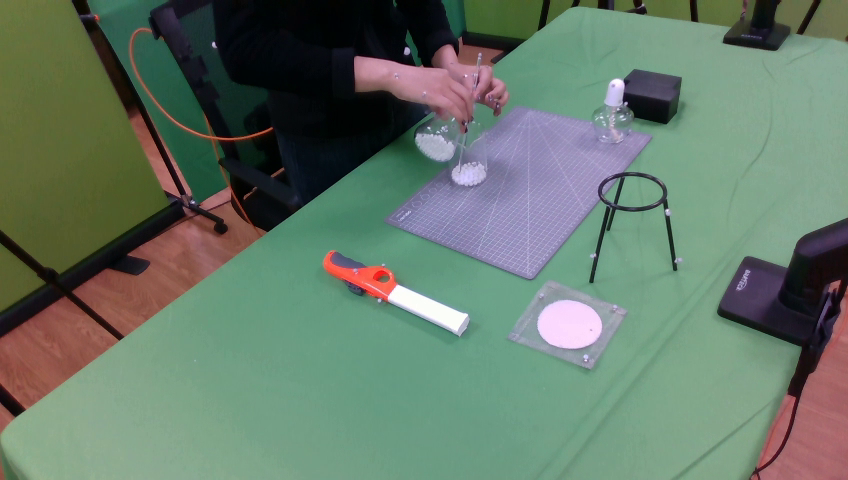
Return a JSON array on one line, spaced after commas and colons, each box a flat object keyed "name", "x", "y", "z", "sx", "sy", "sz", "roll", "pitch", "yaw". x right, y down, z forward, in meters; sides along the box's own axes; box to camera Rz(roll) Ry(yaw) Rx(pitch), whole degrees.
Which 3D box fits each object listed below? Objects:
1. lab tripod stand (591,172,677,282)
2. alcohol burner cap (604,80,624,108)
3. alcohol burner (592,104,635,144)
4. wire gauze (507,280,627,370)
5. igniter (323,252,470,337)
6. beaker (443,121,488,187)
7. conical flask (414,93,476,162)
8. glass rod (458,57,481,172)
[{"name": "lab tripod stand", "x": 0.292, "y": -0.022, "z": 0.867, "sx": 0.148, "sy": 0.132, "sz": 0.147, "roll": -7, "pitch": 39, "yaw": 6}, {"name": "alcohol burner cap", "x": 0.350, "y": -0.269, "z": 1.102, "sx": 0.034, "sy": 0.048, "sz": 0.033, "roll": -2, "pitch": 46, "yaw": 2}, {"name": "alcohol burner", "x": 0.353, "y": -0.242, "z": 1.126, "sx": 0.078, "sy": 0.119, "sz": 0.077, "roll": -5, "pitch": 38, "yaw": 5}, {"name": "wire gauze", "x": 0.196, "y": 0.114, "z": 0.823, "sx": 0.120, "sy": 0.011, "sz": 0.125, "roll": 20, "pitch": 50, "yaw": 31}, {"name": "igniter", "x": -0.052, "y": 0.075, "z": 0.901, "sx": 0.274, "sy": 0.025, "sz": 0.057, "roll": 22, "pitch": 60, "yaw": 32}, {"name": "beaker", "x": 0.078, "y": -0.150, "z": 1.083, "sx": 0.074, "sy": 0.101, "sz": 0.083, "roll": -9, "pitch": 40, "yaw": 1}, {"name": "conical flask", "x": 0.043, "y": -0.193, "z": 1.003, "sx": 0.075, "sy": 0.076, "sz": 0.122, "roll": 18, "pitch": 57, "yaw": 29}, {"name": "glass rod", "x": 0.078, "y": -0.216, "z": 1.054, "sx": 0.008, "sy": 0.199, "sz": 0.008, "roll": 10, "pitch": 12, "yaw": -2}]
